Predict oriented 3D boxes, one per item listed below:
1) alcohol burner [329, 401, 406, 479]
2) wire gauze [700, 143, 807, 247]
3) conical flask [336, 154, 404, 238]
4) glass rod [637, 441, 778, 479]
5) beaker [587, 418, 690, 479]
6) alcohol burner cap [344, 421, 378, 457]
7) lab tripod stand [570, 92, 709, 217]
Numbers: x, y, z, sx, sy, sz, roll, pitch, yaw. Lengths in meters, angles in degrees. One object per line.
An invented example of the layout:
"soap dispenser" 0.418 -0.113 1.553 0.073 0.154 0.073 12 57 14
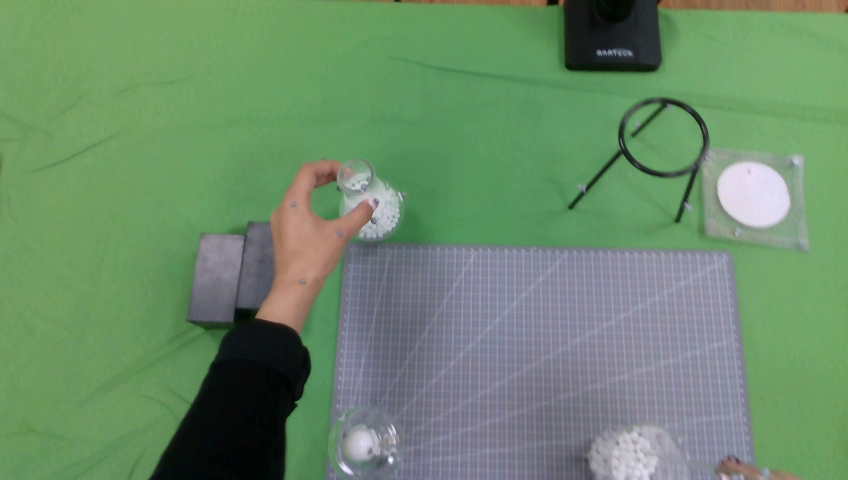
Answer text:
"alcohol burner" -0.058 0.198 0.597 0.078 0.120 0.077 -1 72 4
"wire gauze" 0.393 -0.058 0.721 0.125 0.011 0.121 7 74 2
"conical flask" -0.063 -0.051 0.636 0.075 0.122 0.075 -1 76 3
"glass rod" 0.223 0.177 0.486 0.008 0.200 0.008 2 80 -9
"beaker" 0.207 0.212 0.593 0.084 0.101 0.073 -31 74 -8
"alcohol burner cap" -0.059 0.186 0.563 0.034 0.048 0.033 1 76 -3
"lab tripod stand" 0.240 -0.088 0.669 0.148 0.132 0.147 -1 75 2
